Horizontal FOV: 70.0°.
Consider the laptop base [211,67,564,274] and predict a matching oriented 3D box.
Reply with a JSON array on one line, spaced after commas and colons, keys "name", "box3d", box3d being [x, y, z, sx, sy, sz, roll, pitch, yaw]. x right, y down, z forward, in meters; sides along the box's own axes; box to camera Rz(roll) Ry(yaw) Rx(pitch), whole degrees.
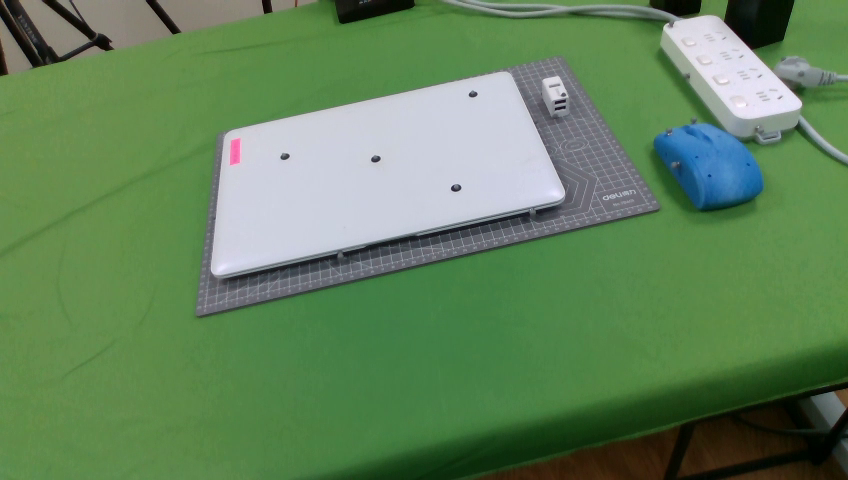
[{"name": "laptop base", "box3d": [-0.052, -0.084, 0.663, 0.354, 0.023, 0.233, -13, 50, 0]}]

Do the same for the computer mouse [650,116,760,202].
[{"name": "computer mouse", "box3d": [0.269, -0.086, 0.586, 0.063, 0.041, 0.116, -14, 42, 2]}]

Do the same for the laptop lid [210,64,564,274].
[{"name": "laptop lid", "box3d": [-0.053, -0.090, 0.653, 0.357, 0.013, 0.239, -12, 49, 1]}]

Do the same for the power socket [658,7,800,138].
[{"name": "power socket", "box3d": [0.332, -0.195, 0.676, 0.072, 0.033, 0.224, -11, 47, 2]}]

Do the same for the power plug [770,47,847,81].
[{"name": "power plug", "box3d": [0.413, -0.185, 0.656, 0.072, 0.035, 0.052, 15, 28, -2]}]

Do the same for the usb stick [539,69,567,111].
[{"name": "usb stick", "box3d": [0.147, -0.177, 0.698, 0.021, 0.027, 0.058, -12, 45, 4]}]
